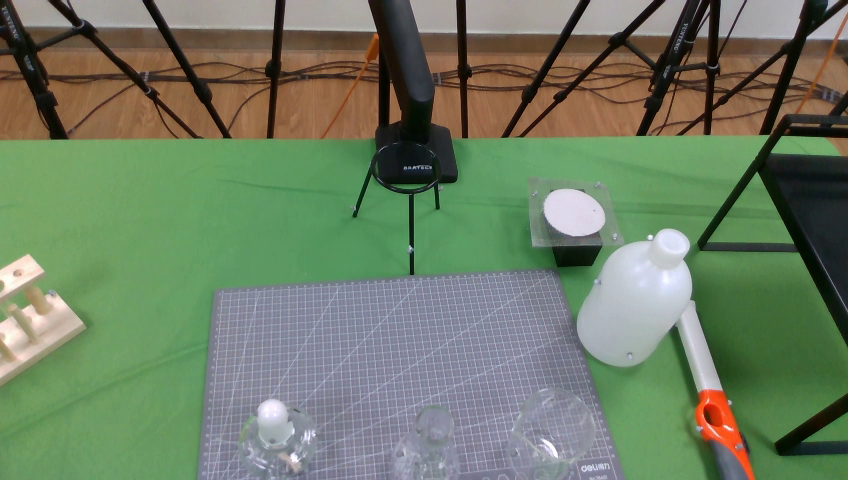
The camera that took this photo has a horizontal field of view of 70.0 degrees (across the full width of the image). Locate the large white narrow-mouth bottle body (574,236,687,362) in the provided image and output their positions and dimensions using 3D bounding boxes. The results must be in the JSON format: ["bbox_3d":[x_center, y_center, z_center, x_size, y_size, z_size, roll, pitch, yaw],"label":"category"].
[{"bbox_3d":[0.244,0.057,0.703,0.102,0.196,0.101,3,52,-3],"label":"large white narrow-mouth bottle body"}]

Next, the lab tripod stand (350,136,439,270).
[{"bbox_3d":[-0.029,-0.055,0.796,0.148,0.132,0.147,4,53,-5],"label":"lab tripod stand"}]

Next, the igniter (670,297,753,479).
[{"bbox_3d":[0.338,0.186,0.721,0.057,0.025,0.273,9,51,-13],"label":"igniter"}]

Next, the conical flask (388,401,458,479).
[{"bbox_3d":[0.003,0.202,0.604,0.075,0.123,0.074,3,52,-4],"label":"conical flask"}]

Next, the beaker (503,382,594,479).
[{"bbox_3d":[0.122,0.205,0.631,0.084,0.101,0.073,-6,53,-10],"label":"beaker"}]

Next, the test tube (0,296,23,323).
[{"bbox_3d":[-0.463,0.043,0.635,0.017,0.151,0.017,1,51,-1],"label":"test tube"}]

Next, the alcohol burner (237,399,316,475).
[{"bbox_3d":[-0.147,0.189,0.602,0.078,0.120,0.077,5,51,-5],"label":"alcohol burner"}]

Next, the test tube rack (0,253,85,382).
[{"bbox_3d":[-0.500,0.124,0.631,0.066,0.086,0.242,37,57,21],"label":"test tube rack"}]

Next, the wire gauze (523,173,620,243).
[{"bbox_3d":[0.199,-0.043,0.831,0.121,0.011,0.124,3,52,-4],"label":"wire gauze"}]

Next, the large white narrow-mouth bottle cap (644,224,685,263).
[{"bbox_3d":[0.251,0.003,0.635,0.038,0.024,0.037,3,52,-3],"label":"large white narrow-mouth bottle cap"}]

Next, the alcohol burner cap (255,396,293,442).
[{"bbox_3d":[-0.144,0.167,0.573,0.034,0.048,0.033,2,47,-2],"label":"alcohol burner cap"}]
